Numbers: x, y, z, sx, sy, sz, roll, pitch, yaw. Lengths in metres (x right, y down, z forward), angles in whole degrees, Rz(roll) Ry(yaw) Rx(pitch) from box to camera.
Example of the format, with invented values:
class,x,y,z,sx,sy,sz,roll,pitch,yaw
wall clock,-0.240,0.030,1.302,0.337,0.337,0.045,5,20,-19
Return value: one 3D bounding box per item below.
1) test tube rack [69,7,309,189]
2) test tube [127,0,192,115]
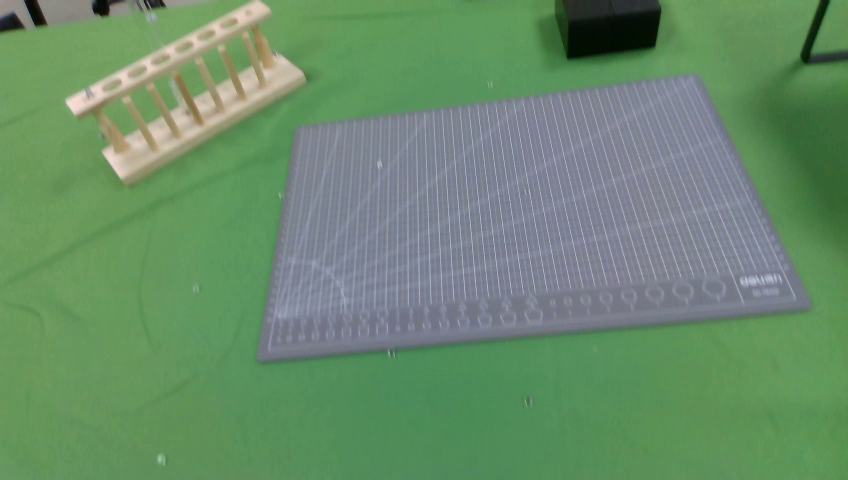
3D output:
class,x,y,z,sx,sy,sz,roll,pitch,yaw
test tube rack,-0.262,-0.167,0.700,0.242,0.086,0.066,-36,54,-18
test tube,-0.289,-0.203,0.668,0.017,0.152,0.017,-6,45,6
